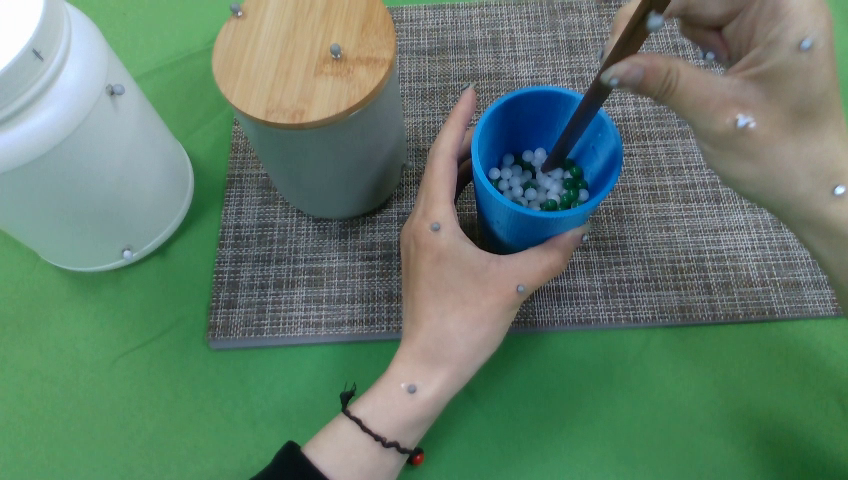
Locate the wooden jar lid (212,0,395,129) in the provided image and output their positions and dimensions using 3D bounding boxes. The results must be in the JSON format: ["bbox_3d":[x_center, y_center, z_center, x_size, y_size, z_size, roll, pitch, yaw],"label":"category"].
[{"bbox_3d":[-0.070,-0.109,0.360,0.108,0.021,0.107,-2,66,5],"label":"wooden jar lid"}]

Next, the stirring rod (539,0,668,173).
[{"bbox_3d":[0.087,-0.076,0.297,0.014,0.177,0.006,-29,75,-16],"label":"stirring rod"}]

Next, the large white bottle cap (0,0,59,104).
[{"bbox_3d":[-0.251,-0.107,0.314,0.115,0.018,0.114,-1,65,2],"label":"large white bottle cap"}]

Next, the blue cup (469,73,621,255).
[{"bbox_3d":[0.069,-0.034,0.385,0.092,0.101,0.092,0,71,1],"label":"blue cup"}]

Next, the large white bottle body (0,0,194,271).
[{"bbox_3d":[-0.246,-0.071,0.391,0.130,0.186,0.129,-1,65,2],"label":"large white bottle body"}]

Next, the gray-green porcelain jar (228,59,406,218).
[{"bbox_3d":[-0.068,-0.082,0.417,0.106,0.127,0.105,-1,65,3],"label":"gray-green porcelain jar"}]
